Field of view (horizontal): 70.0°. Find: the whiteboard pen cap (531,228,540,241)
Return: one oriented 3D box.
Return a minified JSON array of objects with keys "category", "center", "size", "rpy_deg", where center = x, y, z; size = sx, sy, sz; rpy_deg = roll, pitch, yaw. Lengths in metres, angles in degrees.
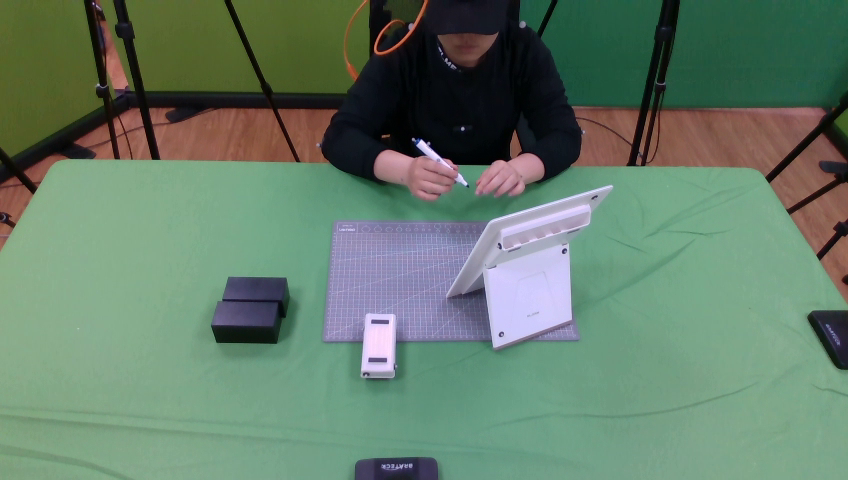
[{"category":"whiteboard pen cap","center":[0.225,-0.012,1.221],"size":[0.018,0.018,0.033],"rpy_deg":[13,29,8]}]

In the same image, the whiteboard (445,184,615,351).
[{"category":"whiteboard","center":[0.186,0.065,0.989],"size":[0.217,0.306,0.143],"rpy_deg":[-15,68,-18]}]

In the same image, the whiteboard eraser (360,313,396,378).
[{"category":"whiteboard eraser","center":[-0.075,0.176,1.006],"size":[0.055,0.042,0.112],"rpy_deg":[3,50,-4]}]

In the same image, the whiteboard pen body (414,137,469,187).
[{"category":"whiteboard pen body","center":[0.036,-0.149,1.165],"size":[0.141,0.017,0.017],"rpy_deg":[40,47,-15]}]
